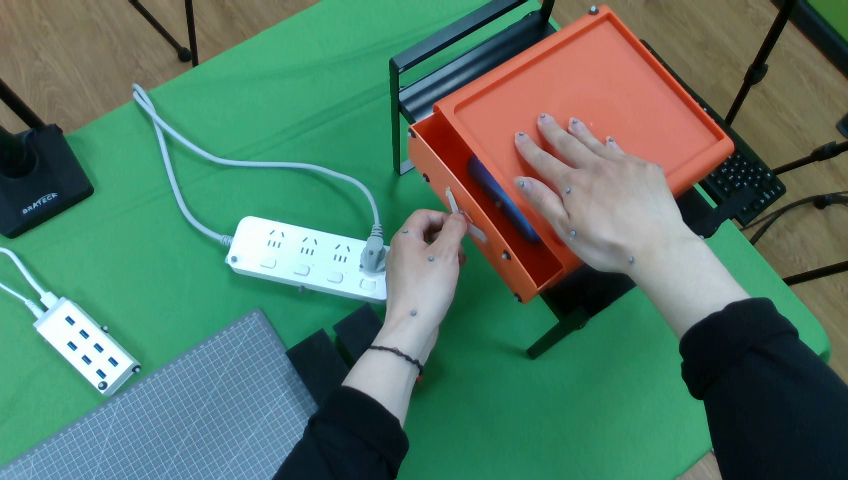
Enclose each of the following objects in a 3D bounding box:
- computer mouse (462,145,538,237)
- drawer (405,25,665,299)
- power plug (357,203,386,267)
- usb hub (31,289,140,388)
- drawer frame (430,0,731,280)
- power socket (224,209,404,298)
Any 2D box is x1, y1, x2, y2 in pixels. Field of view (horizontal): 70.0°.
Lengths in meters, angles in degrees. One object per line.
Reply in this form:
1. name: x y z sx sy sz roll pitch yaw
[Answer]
1. computer mouse: 0.092 -0.061 0.597 0.063 0.041 0.116 -36 74 -10
2. drawer: 0.119 -0.081 0.590 0.212 0.073 0.193 -34 76 -12
3. power plug: -0.057 -0.001 0.750 0.035 0.053 0.072 24 70 6
4. usb hub: -0.402 0.116 0.718 0.124 0.025 0.049 39 75 9
5. drawer frame: 0.145 -0.101 0.597 0.213 0.083 0.200 -34 76 -14
6. power socket: -0.137 0.017 0.760 0.227 0.033 0.072 13 72 2
